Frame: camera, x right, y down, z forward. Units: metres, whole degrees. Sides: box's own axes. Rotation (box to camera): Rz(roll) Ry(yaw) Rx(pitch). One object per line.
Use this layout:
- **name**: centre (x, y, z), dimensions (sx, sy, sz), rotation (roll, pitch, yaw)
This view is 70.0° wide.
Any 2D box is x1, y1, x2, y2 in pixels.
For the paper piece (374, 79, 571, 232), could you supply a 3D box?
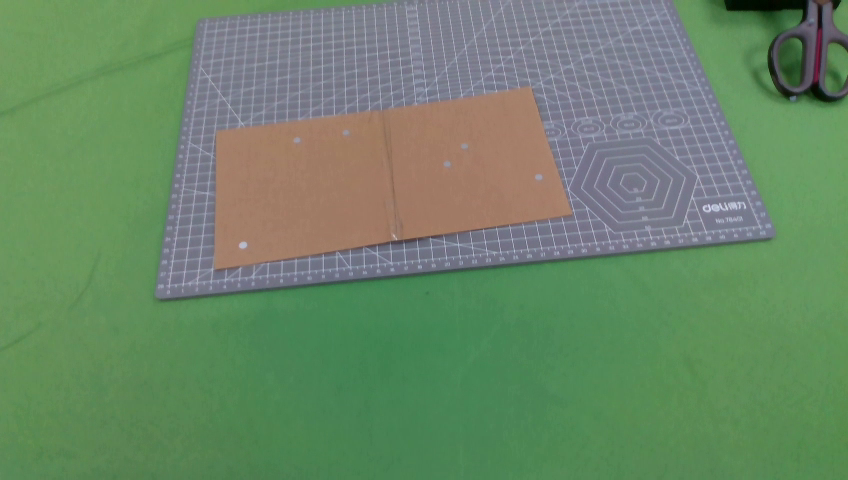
- **paper piece**: centre (0.034, -0.071, 0.481), dimensions (0.136, 0.004, 0.134), rotation (-8, 59, -3)

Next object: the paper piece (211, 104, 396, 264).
- **paper piece**: centre (-0.097, -0.050, 0.475), dimensions (0.138, 0.009, 0.134), rotation (-9, 56, -2)

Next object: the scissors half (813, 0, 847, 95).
- **scissors half**: centre (0.343, -0.206, 0.509), dimensions (0.040, 0.013, 0.174), rotation (-2, 81, 12)

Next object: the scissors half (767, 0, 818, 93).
- **scissors half**: centre (0.324, -0.208, 0.513), dimensions (0.040, 0.013, 0.175), rotation (16, 84, 9)
